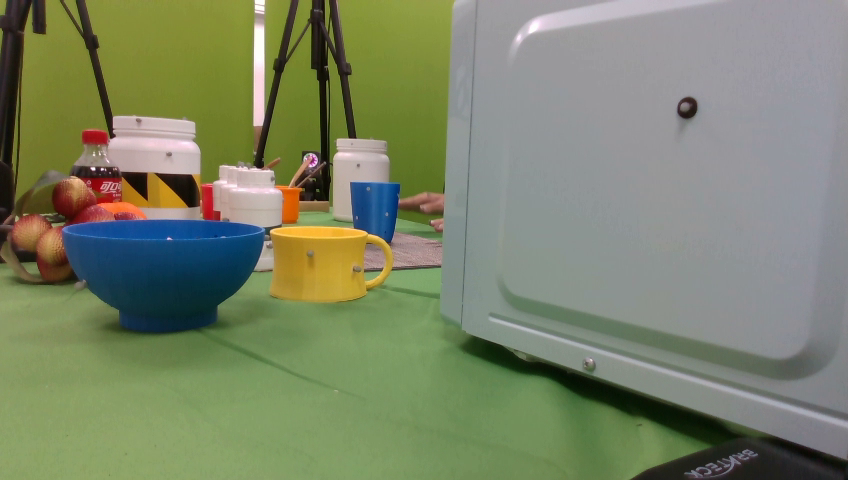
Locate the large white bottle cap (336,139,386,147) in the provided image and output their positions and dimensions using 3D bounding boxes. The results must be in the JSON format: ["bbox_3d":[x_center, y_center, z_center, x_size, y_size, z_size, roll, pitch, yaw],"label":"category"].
[{"bbox_3d":[-0.143,-0.219,1.375,0.115,0.018,0.115,2,8,0],"label":"large white bottle cap"}]

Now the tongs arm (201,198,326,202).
[{"bbox_3d":[-0.433,-0.090,1.507,0.390,0.028,0.028,-1,2,-29],"label":"tongs arm"}]

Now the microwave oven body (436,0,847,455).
[{"bbox_3d":[0.279,-0.040,0.465,0.444,0.260,0.324,-3,9,-41],"label":"microwave oven body"}]

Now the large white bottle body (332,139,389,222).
[{"bbox_3d":[-0.145,-0.136,1.387,0.131,0.184,0.130,2,7,0],"label":"large white bottle body"}]

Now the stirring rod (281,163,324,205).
[{"bbox_3d":[-0.278,-0.105,1.294,0.176,0.006,0.014,-47,25,-18],"label":"stirring rod"}]

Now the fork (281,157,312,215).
[{"bbox_3d":[-0.289,-0.116,1.321,0.028,0.019,0.207,6,51,19],"label":"fork"}]

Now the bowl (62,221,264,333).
[{"bbox_3d":[-0.208,0.029,0.496,0.151,0.077,0.151,2,6,0],"label":"bowl"}]

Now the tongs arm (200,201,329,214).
[{"bbox_3d":[-0.378,-0.079,1.440,0.387,0.026,0.050,-4,8,-44],"label":"tongs arm"}]

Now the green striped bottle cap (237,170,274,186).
[{"bbox_3d":[-0.205,-0.075,0.737,0.044,0.020,0.044,1,7,0],"label":"green striped bottle cap"}]

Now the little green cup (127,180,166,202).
[{"bbox_3d":[-0.486,-0.086,1.061,0.061,0.038,0.061,1,7,0],"label":"little green cup"}]

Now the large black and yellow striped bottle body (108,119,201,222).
[{"bbox_3d":[-0.412,-0.088,0.930,0.131,0.184,0.130,3,7,0],"label":"large black and yellow striped bottle body"}]

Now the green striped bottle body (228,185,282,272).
[{"bbox_3d":[-0.208,-0.023,0.745,0.063,0.119,0.063,3,7,0],"label":"green striped bottle body"}]

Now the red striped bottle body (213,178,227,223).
[{"bbox_3d":[-0.284,-0.048,0.909,0.063,0.119,0.063,3,11,0],"label":"red striped bottle body"}]

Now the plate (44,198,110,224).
[{"bbox_3d":[-0.617,-0.056,1.179,0.209,0.038,0.209,3,7,0],"label":"plate"}]

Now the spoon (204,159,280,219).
[{"bbox_3d":[-0.365,-0.103,1.214,0.193,0.021,0.041,-41,4,6],"label":"spoon"}]

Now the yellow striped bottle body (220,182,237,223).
[{"bbox_3d":[-0.246,-0.036,0.825,0.063,0.120,0.063,3,8,0],"label":"yellow striped bottle body"}]

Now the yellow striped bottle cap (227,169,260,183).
[{"bbox_3d":[-0.243,-0.087,0.818,0.044,0.018,0.044,3,6,0],"label":"yellow striped bottle cap"}]

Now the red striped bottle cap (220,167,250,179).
[{"bbox_3d":[-0.281,-0.100,0.901,0.044,0.017,0.044,-1,4,0],"label":"red striped bottle cap"}]

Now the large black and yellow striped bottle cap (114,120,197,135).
[{"bbox_3d":[-0.407,-0.171,0.920,0.115,0.019,0.115,2,9,0],"label":"large black and yellow striped bottle cap"}]

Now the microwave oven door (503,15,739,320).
[{"bbox_3d":[0.218,-0.065,0.600,0.358,0.243,0.039,-4,10,-41],"label":"microwave oven door"}]

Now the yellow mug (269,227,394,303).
[{"bbox_3d":[-0.094,0.023,0.629,0.131,0.064,0.099,0,7,-22],"label":"yellow mug"}]

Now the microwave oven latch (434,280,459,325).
[{"bbox_3d":[0.044,0.045,0.470,0.079,0.029,0.030,-2,8,-39],"label":"microwave oven latch"}]

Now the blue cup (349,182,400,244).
[{"bbox_3d":[-0.083,-0.046,1.009,0.093,0.100,0.092,1,6,0],"label":"blue cup"}]
